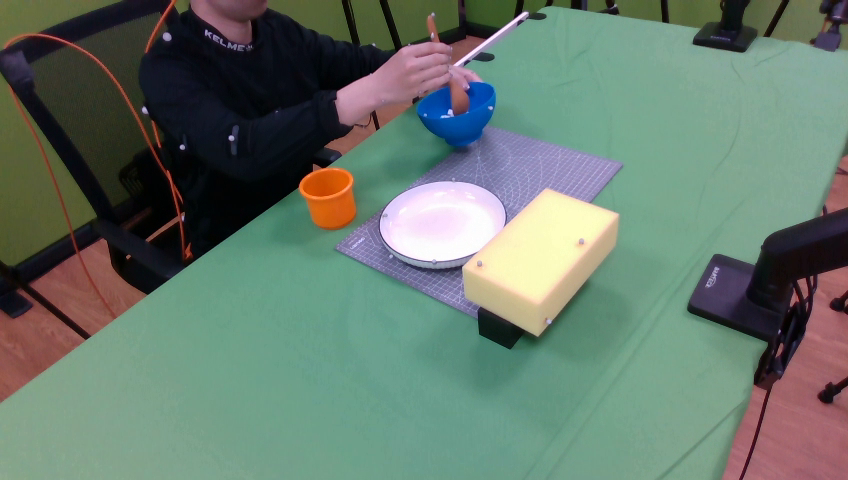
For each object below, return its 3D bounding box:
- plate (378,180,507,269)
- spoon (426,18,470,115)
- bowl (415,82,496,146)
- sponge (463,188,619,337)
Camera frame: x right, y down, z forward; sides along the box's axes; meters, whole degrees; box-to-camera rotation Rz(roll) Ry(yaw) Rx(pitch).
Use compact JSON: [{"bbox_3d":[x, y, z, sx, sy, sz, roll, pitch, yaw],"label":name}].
[{"bbox_3d":[0.031,-0.022,0.974,0.209,0.038,0.208,-4,40,4],"label":"plate"},{"bbox_3d":[0.038,-0.292,1.041,0.042,0.195,0.021,-39,38,-14],"label":"spoon"},{"bbox_3d":[0.066,-0.228,1.131,0.151,0.077,0.150,-12,34,8],"label":"bowl"},{"bbox_3d":[0.160,0.022,0.814,0.117,0.061,0.207,24,50,32],"label":"sponge"}]
